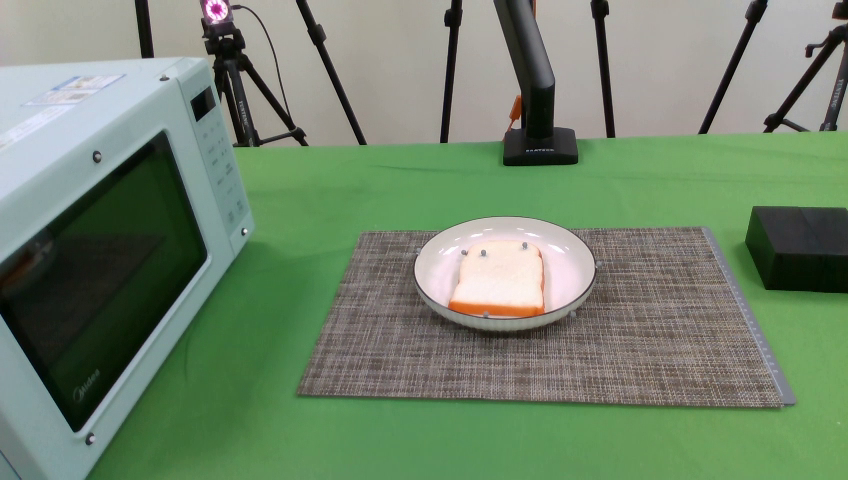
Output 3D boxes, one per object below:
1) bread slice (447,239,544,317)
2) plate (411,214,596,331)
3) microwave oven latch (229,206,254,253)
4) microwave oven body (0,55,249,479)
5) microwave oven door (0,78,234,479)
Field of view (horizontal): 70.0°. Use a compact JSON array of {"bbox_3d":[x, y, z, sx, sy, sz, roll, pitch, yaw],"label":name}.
[{"bbox_3d":[0.086,0.040,0.703,0.104,0.019,0.130,1,34,11],"label":"bread slice"},{"bbox_3d":[0.090,0.038,0.701,0.209,0.038,0.207,-4,33,3],"label":"plate"},{"bbox_3d":[-0.254,-0.013,0.812,0.030,0.030,0.078,1,34,9],"label":"microwave oven latch"},{"bbox_3d":[-0.433,0.004,0.636,0.325,0.262,0.438,0,34,9],"label":"microwave oven body"},{"bbox_3d":[-0.294,0.021,0.576,0.039,0.246,0.353,-1,33,9],"label":"microwave oven door"}]
